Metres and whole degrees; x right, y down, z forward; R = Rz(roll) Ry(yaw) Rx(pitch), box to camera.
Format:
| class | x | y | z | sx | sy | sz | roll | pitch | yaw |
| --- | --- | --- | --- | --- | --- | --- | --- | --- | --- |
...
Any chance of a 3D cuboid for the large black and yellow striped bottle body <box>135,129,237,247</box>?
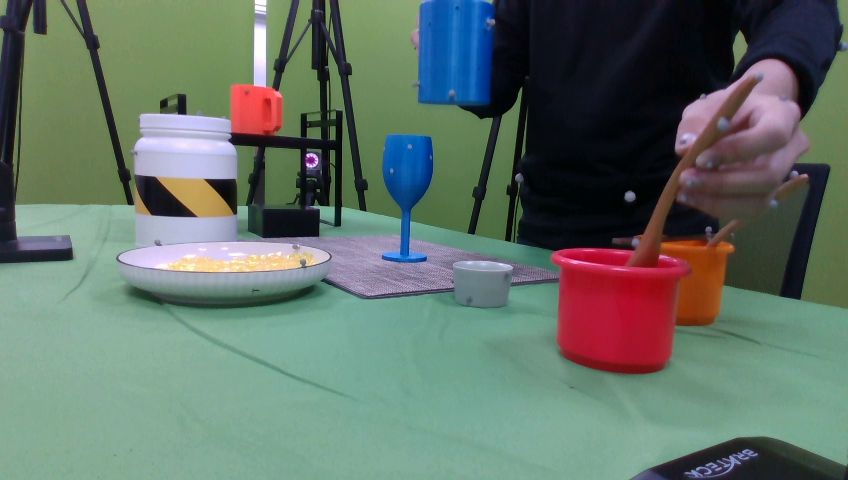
| class | x | y | z | sx | sy | sz | roll | pitch | yaw |
| --- | --- | --- | --- | --- | --- | --- | --- | --- | --- |
| large black and yellow striped bottle body | -0.327 | -0.074 | 0.838 | 0.131 | 0.184 | 0.130 | 2 | 7 | 0 |

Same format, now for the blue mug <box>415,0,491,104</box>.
| class | x | y | z | sx | sy | sz | roll | pitch | yaw |
| --- | --- | --- | --- | --- | --- | --- | --- | --- | --- |
| blue mug | 0.026 | -0.210 | 0.692 | 0.083 | 0.106 | 0.116 | -3 | 11 | -20 |

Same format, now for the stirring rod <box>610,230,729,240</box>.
| class | x | y | z | sx | sy | sz | roll | pitch | yaw |
| --- | --- | --- | --- | --- | --- | --- | --- | --- | --- |
| stirring rod | 0.241 | -0.005 | 0.581 | 0.177 | 0.006 | 0.014 | -2 | 8 | -34 |

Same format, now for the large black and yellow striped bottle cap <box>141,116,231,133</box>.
| class | x | y | z | sx | sy | sz | roll | pitch | yaw |
| --- | --- | --- | --- | --- | --- | --- | --- | --- | --- |
| large black and yellow striped bottle cap | -0.324 | -0.157 | 0.826 | 0.115 | 0.019 | 0.115 | 1 | 7 | 0 |

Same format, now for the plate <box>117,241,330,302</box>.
| class | x | y | z | sx | sy | sz | roll | pitch | yaw |
| --- | --- | --- | --- | --- | --- | --- | --- | --- | --- |
| plate | -0.203 | 0.031 | 0.630 | 0.209 | 0.038 | 0.209 | 3 | 7 | 0 |

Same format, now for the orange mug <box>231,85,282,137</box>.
| class | x | y | z | sx | sy | sz | roll | pitch | yaw |
| --- | --- | --- | --- | --- | --- | --- | --- | --- | --- |
| orange mug | -0.335 | -0.261 | 1.225 | 0.125 | 0.100 | 0.084 | 2 | 6 | 35 |

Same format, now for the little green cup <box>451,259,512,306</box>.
| class | x | y | z | sx | sy | sz | roll | pitch | yaw |
| --- | --- | --- | --- | --- | --- | --- | --- | --- | --- |
| little green cup | 0.057 | 0.043 | 0.612 | 0.061 | 0.038 | 0.061 | 3 | 7 | 0 |

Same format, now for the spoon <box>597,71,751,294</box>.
| class | x | y | z | sx | sy | sz | roll | pitch | yaw |
| --- | --- | --- | --- | --- | --- | --- | --- | --- | --- |
| spoon | 0.161 | -0.026 | 0.405 | 0.042 | 0.193 | 0.021 | -13 | 46 | -25 |

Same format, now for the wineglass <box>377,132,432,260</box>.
| class | x | y | z | sx | sy | sz | roll | pitch | yaw |
| --- | --- | --- | --- | --- | --- | --- | --- | --- | --- |
| wineglass | -0.026 | -0.062 | 0.841 | 0.074 | 0.172 | 0.073 | 2 | 7 | 0 |

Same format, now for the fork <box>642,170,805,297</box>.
| class | x | y | z | sx | sy | sz | roll | pitch | yaw |
| --- | --- | --- | --- | --- | --- | --- | --- | --- | --- |
| fork | 0.261 | 0.004 | 0.545 | 0.028 | 0.018 | 0.207 | 4 | -37 | -16 |

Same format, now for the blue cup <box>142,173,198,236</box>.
| class | x | y | z | sx | sy | sz | roll | pitch | yaw |
| --- | --- | --- | --- | --- | --- | --- | --- | --- | --- |
| blue cup | -0.425 | -0.060 | 1.014 | 0.093 | 0.100 | 0.092 | 4 | 9 | 0 |
